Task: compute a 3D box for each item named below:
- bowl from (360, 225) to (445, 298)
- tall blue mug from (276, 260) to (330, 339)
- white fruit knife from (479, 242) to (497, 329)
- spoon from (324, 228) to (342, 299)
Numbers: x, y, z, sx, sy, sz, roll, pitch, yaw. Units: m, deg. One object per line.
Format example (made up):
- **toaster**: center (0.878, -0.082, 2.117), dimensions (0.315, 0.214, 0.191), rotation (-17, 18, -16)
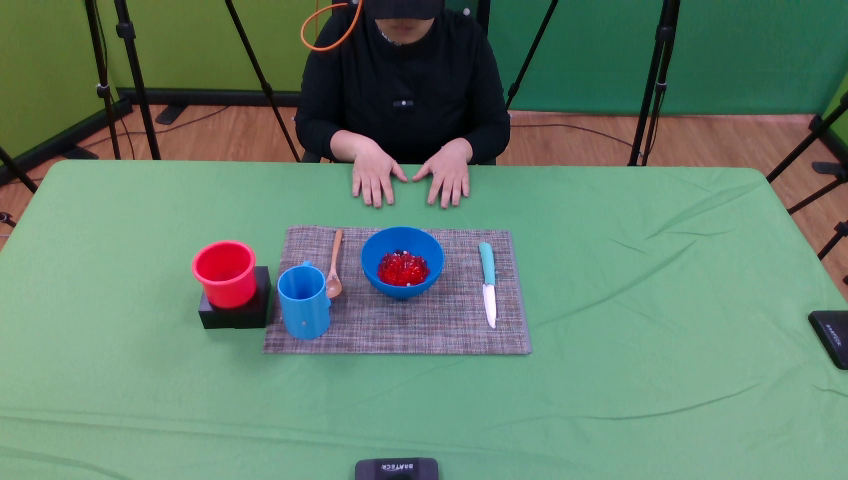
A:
- **bowl**: center (-0.040, 0.053, 1.099), dimensions (0.151, 0.077, 0.150), rotation (2, 46, -2)
- **tall blue mug**: center (-0.208, 0.094, 1.025), dimensions (0.078, 0.108, 0.106), rotation (-21, 51, -21)
- **white fruit knife**: center (0.122, 0.080, 1.130), dimensions (0.027, 0.016, 0.206), rotation (-19, 45, 19)
- **spoon**: center (-0.168, 0.041, 1.140), dimensions (0.041, 0.022, 0.192), rotation (-10, 46, 11)
